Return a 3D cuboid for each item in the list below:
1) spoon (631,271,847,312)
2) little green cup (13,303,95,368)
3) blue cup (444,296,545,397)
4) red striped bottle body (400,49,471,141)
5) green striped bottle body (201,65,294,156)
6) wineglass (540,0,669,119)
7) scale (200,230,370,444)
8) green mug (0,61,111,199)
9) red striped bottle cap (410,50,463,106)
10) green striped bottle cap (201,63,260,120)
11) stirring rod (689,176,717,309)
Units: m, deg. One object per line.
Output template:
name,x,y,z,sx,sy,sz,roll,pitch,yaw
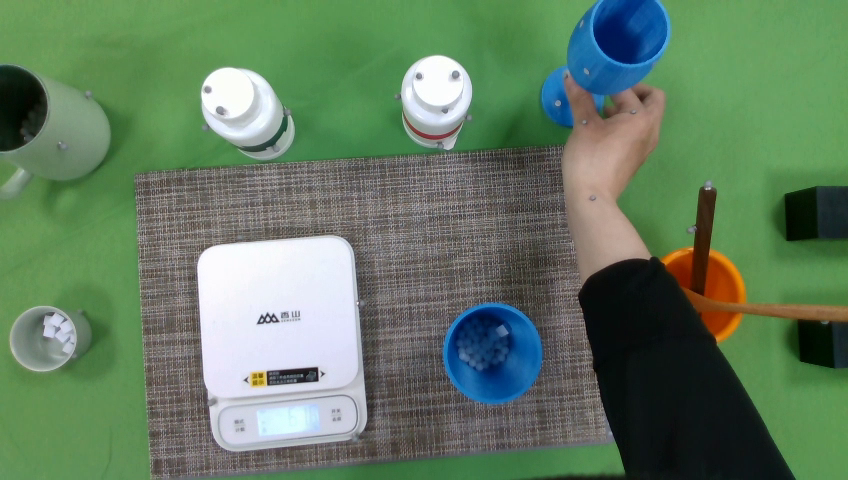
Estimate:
spoon,0.284,0.052,0.548,0.022,0.192,0.041,-11,99,-45
little green cup,-0.350,0.090,0.579,0.061,0.038,0.061,0,88,-3
blue cup,0.060,0.092,0.559,0.092,0.100,0.092,0,88,0
red striped bottle body,0.009,-0.134,0.560,0.063,0.119,0.063,0,87,-2
green striped bottle body,-0.160,-0.118,0.553,0.063,0.119,0.063,0,87,-2
wineglass,0.152,-0.161,0.539,0.074,0.172,0.073,0,87,-1
scale,-0.134,0.094,0.586,0.149,0.031,0.200,-5,88,-2
green mug,-0.361,-0.093,0.553,0.092,0.105,0.125,31,87,0
red striped bottle cap,0.011,-0.136,0.507,0.044,0.018,0.044,0,85,-1
green striped bottle cap,-0.159,-0.122,0.498,0.044,0.020,0.044,0,87,-1
stirring rod,0.249,0.009,0.547,0.014,0.178,0.006,11,54,28
